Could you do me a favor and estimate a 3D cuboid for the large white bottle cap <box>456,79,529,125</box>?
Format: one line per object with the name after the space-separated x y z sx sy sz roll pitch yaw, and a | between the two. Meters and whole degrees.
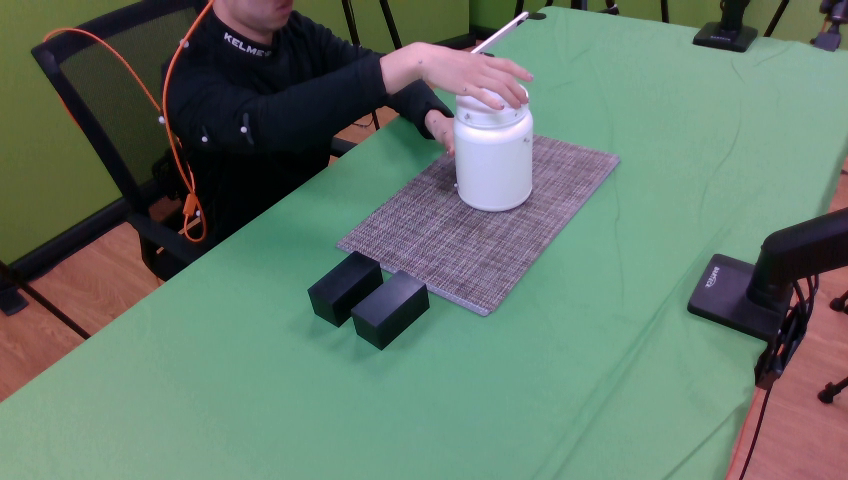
0.106 -0.218 0.945 0.115 0.018 0.114 -4 41 4 | large white bottle cap

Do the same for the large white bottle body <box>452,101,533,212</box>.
0.115 -0.154 1.000 0.130 0.185 0.130 -4 41 4 | large white bottle body
